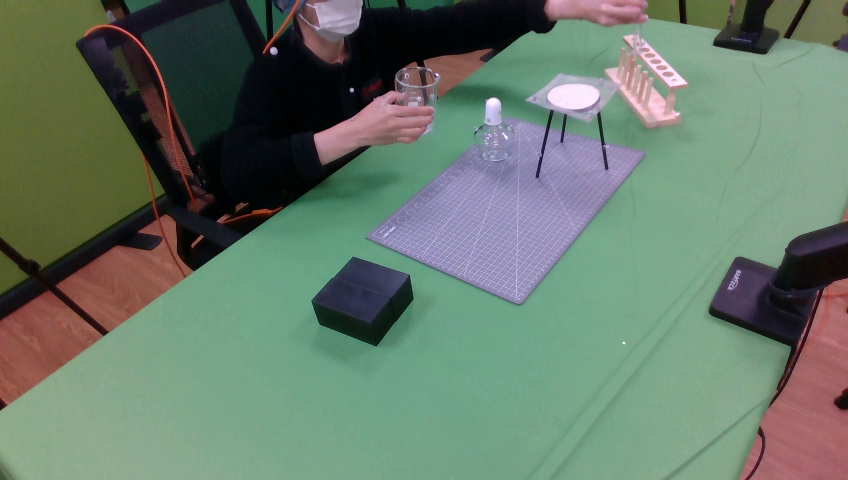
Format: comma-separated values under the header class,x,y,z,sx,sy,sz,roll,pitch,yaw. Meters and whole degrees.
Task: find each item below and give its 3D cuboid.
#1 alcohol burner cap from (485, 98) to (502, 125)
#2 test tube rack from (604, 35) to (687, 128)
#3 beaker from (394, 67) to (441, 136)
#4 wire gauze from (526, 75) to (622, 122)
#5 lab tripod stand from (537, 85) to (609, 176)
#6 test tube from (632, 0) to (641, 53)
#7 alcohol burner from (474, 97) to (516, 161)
class,x,y,z,sx,sy,sz,roll,pitch,yaw
alcohol burner cap,0.126,-0.234,1.097,0.034,0.048,0.033,-3,39,3
test tube rack,0.447,-0.330,1.241,0.067,0.085,0.241,-9,41,-2
beaker,-0.011,-0.242,1.062,0.084,0.100,0.073,-16,45,-19
wire gauze,0.255,-0.248,1.030,0.124,0.011,0.122,24,51,32
lab tripod stand,0.259,-0.192,1.068,0.148,0.132,0.147,-4,43,4
test tube,0.401,-0.430,1.143,0.017,0.151,0.017,-8,27,5
alcohol burner,0.131,-0.208,1.121,0.078,0.119,0.077,-6,40,5
